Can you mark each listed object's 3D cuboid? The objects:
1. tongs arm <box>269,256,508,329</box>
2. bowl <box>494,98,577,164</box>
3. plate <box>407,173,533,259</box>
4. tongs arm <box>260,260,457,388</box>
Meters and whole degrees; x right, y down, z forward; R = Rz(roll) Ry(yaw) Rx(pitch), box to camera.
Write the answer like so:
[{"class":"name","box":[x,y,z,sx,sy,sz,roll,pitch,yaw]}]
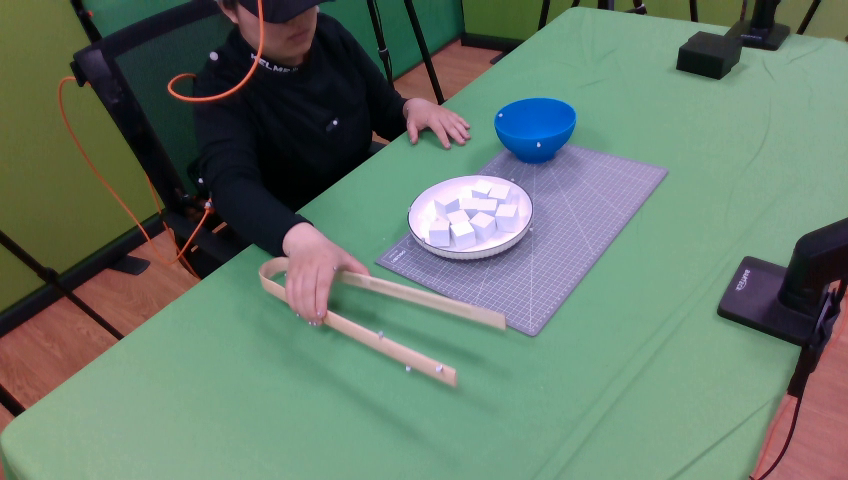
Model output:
[{"class":"tongs arm","box":[-0.063,0.071,0.859,0.385,0.028,0.028,12,42,26]},{"class":"bowl","box":[0.207,-0.195,1.128,0.151,0.077,0.150,-5,40,5]},{"class":"plate","box":[0.076,-0.037,0.997,0.207,0.039,0.206,-5,40,5]},{"class":"tongs arm","box":[-0.101,0.102,0.815,0.381,0.026,0.051,18,41,33]}]
